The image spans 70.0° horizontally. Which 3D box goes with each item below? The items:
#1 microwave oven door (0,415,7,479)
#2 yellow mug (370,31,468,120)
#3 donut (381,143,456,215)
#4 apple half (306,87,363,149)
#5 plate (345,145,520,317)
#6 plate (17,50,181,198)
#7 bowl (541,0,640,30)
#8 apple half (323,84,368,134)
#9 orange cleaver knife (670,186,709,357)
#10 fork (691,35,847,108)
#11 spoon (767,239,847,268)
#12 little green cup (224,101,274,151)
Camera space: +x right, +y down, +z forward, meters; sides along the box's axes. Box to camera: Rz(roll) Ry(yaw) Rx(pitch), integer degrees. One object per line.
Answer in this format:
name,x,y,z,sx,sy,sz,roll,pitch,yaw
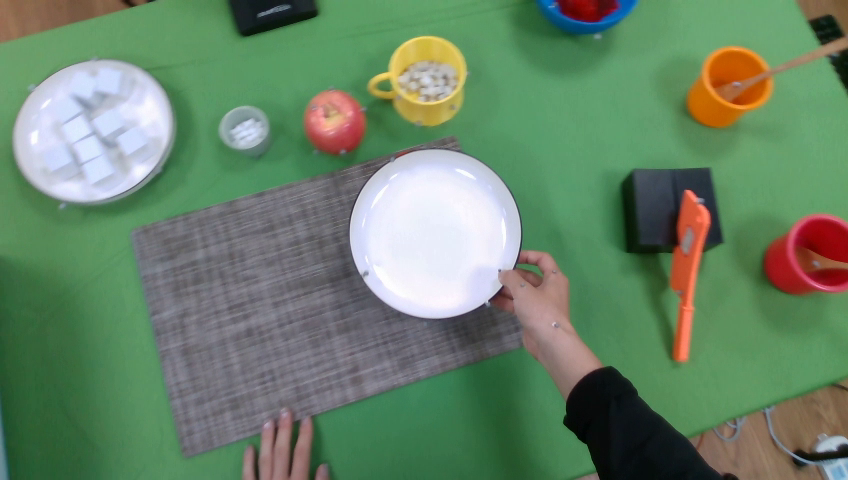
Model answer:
microwave oven door,-0.509,0.214,0.597,0.039,0.245,0.354,-15,77,-4
yellow mug,-0.007,-0.219,0.819,0.131,0.064,0.099,-7,76,-2
donut,-0.008,-0.080,0.793,0.099,0.048,0.098,0,78,0
apple half,-0.125,-0.152,0.798,0.053,0.075,0.080,-44,84,-6
plate,0.011,-0.011,0.730,0.209,0.038,0.208,0,80,2
plate,-0.427,-0.152,0.810,0.208,0.039,0.206,0,76,-1
bowl,0.226,-0.351,0.848,0.151,0.077,0.150,0,77,0
apple half,-0.097,-0.179,0.803,0.033,0.081,0.081,-44,80,-6
orange cleaver knife,0.321,0.041,0.751,0.012,0.077,0.212,2,108,1
fork,0.453,-0.220,0.784,0.207,0.019,0.028,-20,70,39
spoon,0.518,0.030,0.729,0.192,0.022,0.041,15,65,49
little green cup,-0.232,-0.150,0.813,0.061,0.039,0.061,0,76,0
